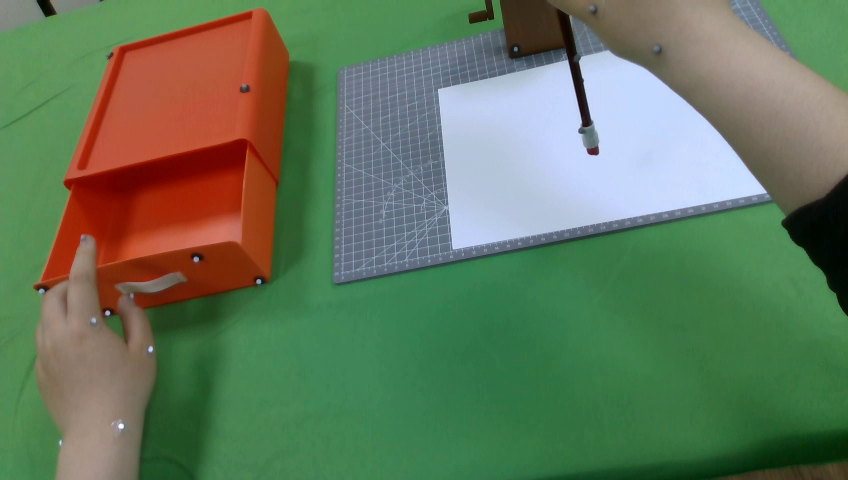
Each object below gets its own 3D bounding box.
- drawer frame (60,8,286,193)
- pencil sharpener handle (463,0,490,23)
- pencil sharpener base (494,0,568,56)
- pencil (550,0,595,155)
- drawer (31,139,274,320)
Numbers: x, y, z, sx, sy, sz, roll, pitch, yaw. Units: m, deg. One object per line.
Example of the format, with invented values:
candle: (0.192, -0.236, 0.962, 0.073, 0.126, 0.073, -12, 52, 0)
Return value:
drawer frame: (-0.262, -0.137, 0.664, 0.201, 0.083, 0.211, -12, 53, 8)
pencil sharpener handle: (0.050, -0.251, 0.617, 0.030, 0.068, 0.035, -10, 60, 11)
pencil sharpener base: (0.103, -0.251, 0.617, 0.076, 0.108, 0.061, -10, 55, 11)
pencil: (0.093, -0.130, 0.398, 0.012, 0.196, 0.012, -14, 45, 15)
drawer: (-0.251, -0.041, 0.598, 0.194, 0.074, 0.209, -13, 54, 8)
